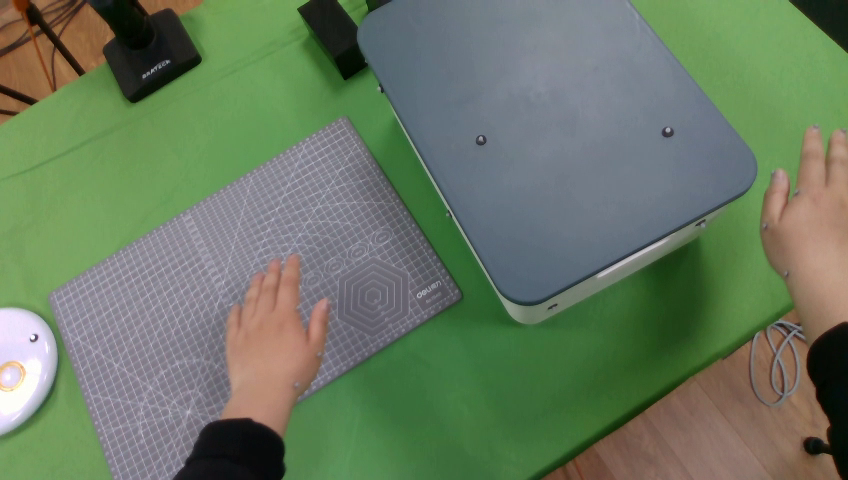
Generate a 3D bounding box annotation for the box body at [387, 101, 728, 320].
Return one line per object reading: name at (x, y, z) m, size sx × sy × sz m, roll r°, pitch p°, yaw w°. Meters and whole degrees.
box body at (0.122, -0.121, 0.668) m, size 0.254 × 0.161 × 0.361 m, roll -29°, pitch 69°, yaw -1°

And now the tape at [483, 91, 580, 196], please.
tape at (0.127, -0.115, 0.718) m, size 0.117 × 0.053 × 0.116 m, roll -3°, pitch 71°, yaw 8°

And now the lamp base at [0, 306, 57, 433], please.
lamp base at (-0.554, 0.134, 0.680) m, size 0.179 × 0.181 × 0.159 m, roll 4°, pitch 72°, yaw 13°

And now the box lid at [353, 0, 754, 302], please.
box lid at (0.110, -0.148, 0.600) m, size 0.263 × 0.015 × 0.368 m, roll -29°, pitch 70°, yaw -1°
